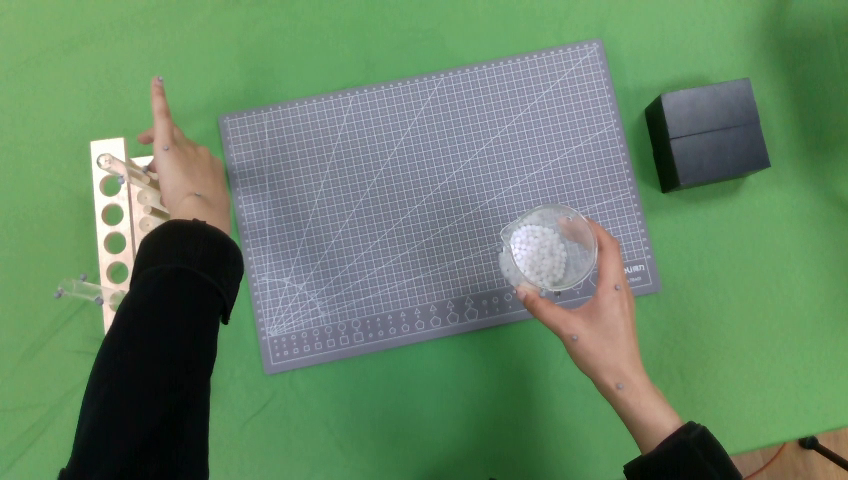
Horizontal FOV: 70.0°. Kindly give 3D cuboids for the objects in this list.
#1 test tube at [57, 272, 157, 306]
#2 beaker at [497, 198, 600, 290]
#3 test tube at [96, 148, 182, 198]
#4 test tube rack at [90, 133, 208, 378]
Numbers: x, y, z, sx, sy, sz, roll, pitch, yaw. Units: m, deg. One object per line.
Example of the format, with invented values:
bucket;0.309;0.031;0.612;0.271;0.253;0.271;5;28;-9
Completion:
test tube;-0.300;0.050;0.586;0.017;0.151;0.017;-1;78;4
beaker;0.104;0.008;0.548;0.084;0.100;0.074;16;82;2
test tube;-0.279;-0.064;0.601;0.017;0.151;0.017;0;82;2
test tube rack;-0.287;0.016;0.639;0.067;0.085;0.241;-7;85;0
